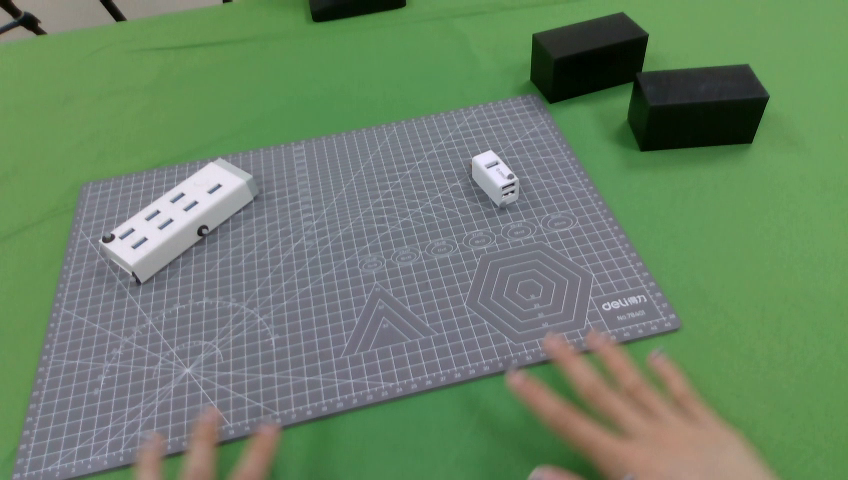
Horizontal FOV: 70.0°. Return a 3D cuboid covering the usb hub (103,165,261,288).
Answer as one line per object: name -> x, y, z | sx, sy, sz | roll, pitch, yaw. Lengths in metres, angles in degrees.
usb hub -> -0.203, -0.015, 0.516 | 0.049, 0.025, 0.125 | 27, 55, 28

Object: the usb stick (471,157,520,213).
usb stick -> 0.059, -0.052, 0.521 | 0.021, 0.027, 0.058 | -26, 46, -12
